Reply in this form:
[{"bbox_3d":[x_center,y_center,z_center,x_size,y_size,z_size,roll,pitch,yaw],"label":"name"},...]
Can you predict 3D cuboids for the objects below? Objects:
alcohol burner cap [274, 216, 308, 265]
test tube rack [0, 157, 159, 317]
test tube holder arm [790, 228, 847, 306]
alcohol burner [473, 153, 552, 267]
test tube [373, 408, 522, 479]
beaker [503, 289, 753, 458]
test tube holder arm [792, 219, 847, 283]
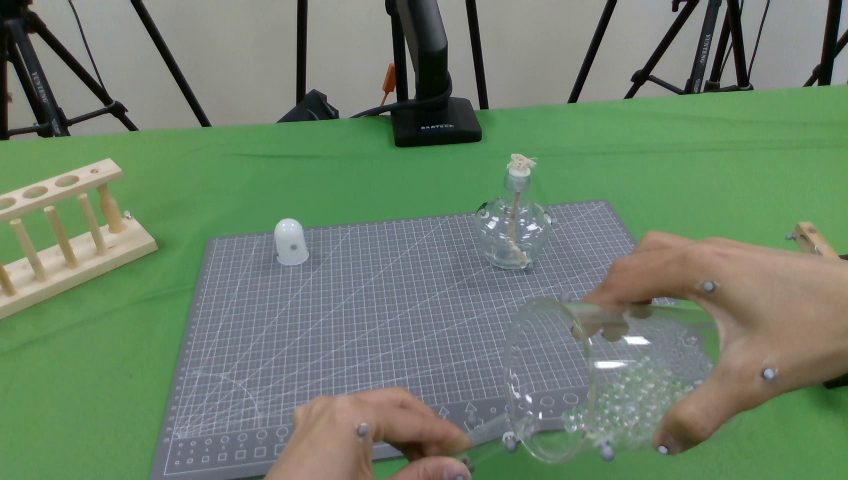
[{"bbox_3d":[-0.137,-0.002,0.614,0.034,0.048,0.033,-1,37,1],"label":"alcohol burner cap"},{"bbox_3d":[-0.393,0.011,0.574,0.242,0.086,0.066,-29,46,-32],"label":"test tube rack"},{"bbox_3d":[0.344,0.042,0.489,0.015,0.013,0.176,1,37,1],"label":"test tube holder arm"},{"bbox_3d":[0.088,-0.033,0.590,0.078,0.120,0.077,1,38,0],"label":"alcohol burner"},{"bbox_3d":[-0.013,0.131,0.329,0.150,0.017,0.017,-34,35,16],"label":"test tube"},{"bbox_3d":[0.099,0.067,0.299,0.101,0.084,0.073,3,46,-21],"label":"beaker"},{"bbox_3d":[0.345,0.011,0.521,0.015,0.010,0.087,1,38,1],"label":"test tube holder arm"}]
